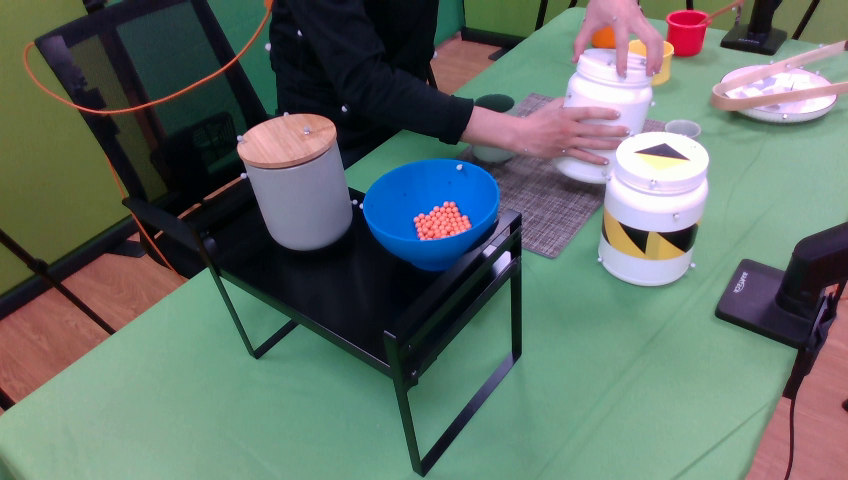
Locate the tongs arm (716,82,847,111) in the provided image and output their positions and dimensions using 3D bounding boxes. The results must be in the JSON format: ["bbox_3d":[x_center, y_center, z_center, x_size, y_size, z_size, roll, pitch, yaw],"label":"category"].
[{"bbox_3d":[0.738,-0.282,1.134,0.388,0.028,0.028,-9,47,-5],"label":"tongs arm"}]

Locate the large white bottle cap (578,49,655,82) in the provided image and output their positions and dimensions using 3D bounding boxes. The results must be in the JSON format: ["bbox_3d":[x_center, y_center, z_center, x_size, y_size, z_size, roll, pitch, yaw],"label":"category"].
[{"bbox_3d":[0.296,-0.270,0.934,0.115,0.018,0.114,4,34,-2],"label":"large white bottle cap"}]

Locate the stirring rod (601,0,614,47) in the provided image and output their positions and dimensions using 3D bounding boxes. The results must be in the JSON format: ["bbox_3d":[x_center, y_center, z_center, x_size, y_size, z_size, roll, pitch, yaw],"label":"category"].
[{"bbox_3d":[0.440,-0.552,1.463,0.014,0.006,0.175,-7,83,3],"label":"stirring rod"}]

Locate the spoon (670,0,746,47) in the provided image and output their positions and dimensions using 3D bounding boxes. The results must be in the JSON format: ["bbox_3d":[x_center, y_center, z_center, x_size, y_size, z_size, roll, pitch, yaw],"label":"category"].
[{"bbox_3d":[0.629,-0.485,1.350,0.022,0.193,0.042,47,54,-7],"label":"spoon"}]

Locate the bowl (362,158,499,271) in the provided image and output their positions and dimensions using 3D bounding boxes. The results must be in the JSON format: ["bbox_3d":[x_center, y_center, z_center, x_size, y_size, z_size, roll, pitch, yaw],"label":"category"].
[{"bbox_3d":[0.011,-0.019,0.679,0.151,0.077,0.150,-5,41,5],"label":"bowl"}]

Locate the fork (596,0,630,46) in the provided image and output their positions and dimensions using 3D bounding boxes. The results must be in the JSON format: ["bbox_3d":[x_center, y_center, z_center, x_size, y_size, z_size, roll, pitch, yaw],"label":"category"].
[{"bbox_3d":[0.481,-0.556,1.452,0.028,0.019,0.207,40,103,38],"label":"fork"}]

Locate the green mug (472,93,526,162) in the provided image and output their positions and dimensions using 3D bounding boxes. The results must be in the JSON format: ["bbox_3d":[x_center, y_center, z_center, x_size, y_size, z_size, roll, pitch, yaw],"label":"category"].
[{"bbox_3d":[0.144,-0.202,1.122,0.093,0.105,0.124,-29,45,-23],"label":"green mug"}]

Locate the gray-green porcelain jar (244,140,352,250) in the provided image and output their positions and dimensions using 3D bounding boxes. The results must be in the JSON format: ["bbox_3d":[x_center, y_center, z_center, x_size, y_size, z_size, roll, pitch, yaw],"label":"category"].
[{"bbox_3d":[-0.144,-0.060,0.714,0.106,0.127,0.105,-4,41,4],"label":"gray-green porcelain jar"}]

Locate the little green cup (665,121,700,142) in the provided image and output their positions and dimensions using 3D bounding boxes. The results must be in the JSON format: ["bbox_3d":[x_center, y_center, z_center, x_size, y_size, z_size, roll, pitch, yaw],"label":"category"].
[{"bbox_3d":[0.473,-0.189,1.113,0.061,0.039,0.061,-5,40,4],"label":"little green cup"}]

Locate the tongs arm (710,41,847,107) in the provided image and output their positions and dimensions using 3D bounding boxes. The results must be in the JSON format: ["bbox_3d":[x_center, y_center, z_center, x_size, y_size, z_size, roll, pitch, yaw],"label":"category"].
[{"bbox_3d":[0.712,-0.332,1.194,0.386,0.026,0.050,-19,45,-16],"label":"tongs arm"}]

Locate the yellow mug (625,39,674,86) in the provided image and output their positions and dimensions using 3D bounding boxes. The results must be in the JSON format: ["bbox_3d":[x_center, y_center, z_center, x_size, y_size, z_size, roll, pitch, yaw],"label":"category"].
[{"bbox_3d":[0.484,-0.398,1.333,0.100,0.064,0.130,-18,40,-11],"label":"yellow mug"}]

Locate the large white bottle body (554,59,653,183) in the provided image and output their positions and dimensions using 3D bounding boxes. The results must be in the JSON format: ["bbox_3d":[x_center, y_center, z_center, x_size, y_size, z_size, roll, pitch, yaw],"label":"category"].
[{"bbox_3d":[0.291,-0.200,0.981,0.131,0.185,0.130,4,34,-2],"label":"large white bottle body"}]

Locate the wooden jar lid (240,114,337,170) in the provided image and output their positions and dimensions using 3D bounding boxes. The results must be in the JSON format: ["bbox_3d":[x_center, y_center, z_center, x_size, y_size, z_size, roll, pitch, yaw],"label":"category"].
[{"bbox_3d":[-0.149,-0.106,0.673,0.108,0.021,0.108,-6,39,5],"label":"wooden jar lid"}]

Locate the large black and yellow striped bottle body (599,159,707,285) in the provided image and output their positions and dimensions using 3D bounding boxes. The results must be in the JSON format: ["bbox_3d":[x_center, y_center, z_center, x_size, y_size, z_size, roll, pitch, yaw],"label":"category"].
[{"bbox_3d":[0.320,-0.042,0.854,0.131,0.185,0.130,-4,41,4],"label":"large black and yellow striped bottle body"}]

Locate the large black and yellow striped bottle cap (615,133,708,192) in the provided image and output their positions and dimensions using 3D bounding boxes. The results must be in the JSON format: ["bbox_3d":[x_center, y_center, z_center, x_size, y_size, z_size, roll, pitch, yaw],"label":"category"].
[{"bbox_3d":[0.313,-0.105,0.799,0.115,0.019,0.114,-5,41,5],"label":"large black and yellow striped bottle cap"}]

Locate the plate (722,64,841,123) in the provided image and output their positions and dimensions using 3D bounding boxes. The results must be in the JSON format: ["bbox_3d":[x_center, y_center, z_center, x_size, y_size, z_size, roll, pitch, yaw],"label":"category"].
[{"bbox_3d":[0.695,-0.283,1.189,0.207,0.039,0.206,-4,40,4],"label":"plate"}]
